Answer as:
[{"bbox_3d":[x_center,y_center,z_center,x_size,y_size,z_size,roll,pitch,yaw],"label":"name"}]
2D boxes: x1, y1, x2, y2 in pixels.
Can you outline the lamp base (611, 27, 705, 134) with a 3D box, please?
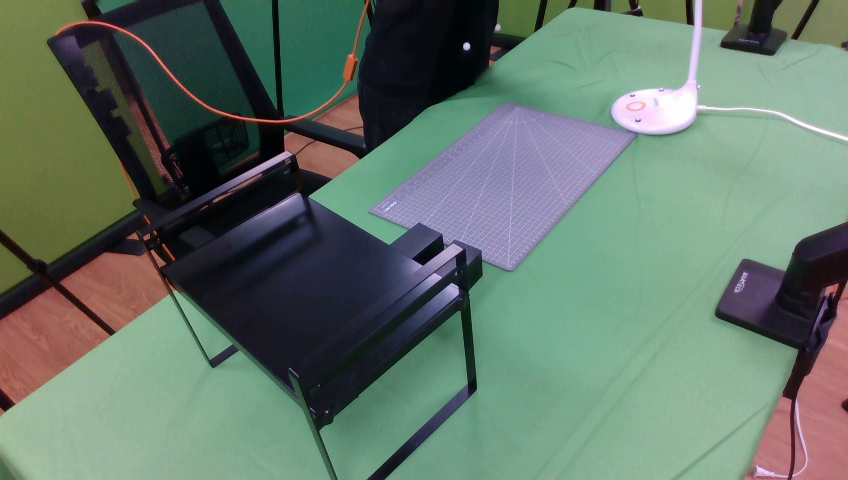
[{"bbox_3d":[0.459,-0.316,1.154,0.179,0.181,0.159,-6,41,-1],"label":"lamp base"}]
